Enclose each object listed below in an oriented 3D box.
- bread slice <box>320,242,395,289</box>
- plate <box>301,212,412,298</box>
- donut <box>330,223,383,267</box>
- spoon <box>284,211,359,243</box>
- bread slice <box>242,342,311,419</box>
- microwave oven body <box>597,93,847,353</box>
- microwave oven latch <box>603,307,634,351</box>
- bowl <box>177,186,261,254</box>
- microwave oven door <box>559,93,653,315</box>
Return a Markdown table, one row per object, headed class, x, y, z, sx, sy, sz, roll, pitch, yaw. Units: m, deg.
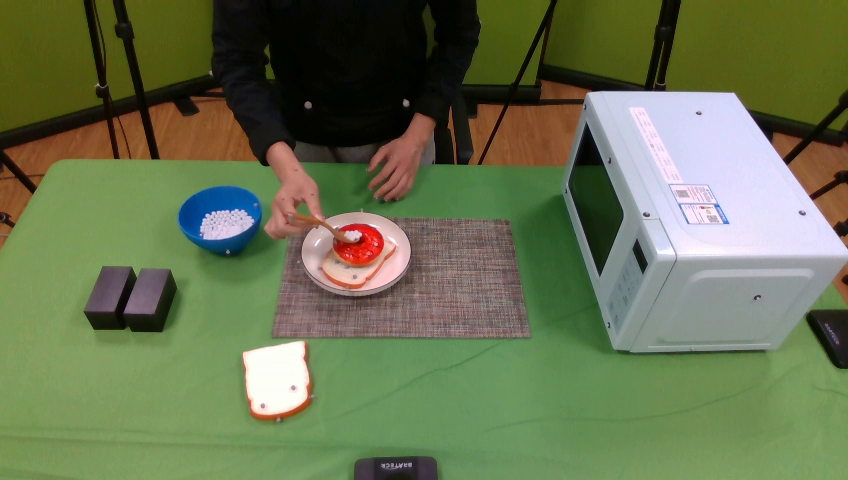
| class | x | y | z | sx | sy | sz | roll | pitch | yaw |
| --- | --- | --- | --- | --- | --- | --- | --- | --- | --- |
| bread slice | -0.129 | 0.038 | 1.142 | 0.107 | 0.018 | 0.134 | 19 | 45 | 14 |
| plate | -0.126 | 0.031 | 1.145 | 0.208 | 0.039 | 0.206 | 2 | 46 | -2 |
| donut | -0.125 | 0.010 | 1.127 | 0.099 | 0.048 | 0.098 | 3 | 46 | -3 |
| spoon | -0.172 | -0.024 | 1.026 | 0.041 | 0.195 | 0.021 | 33 | 91 | 31 |
| bread slice | -0.233 | 0.223 | 0.970 | 0.105 | 0.019 | 0.130 | -10 | 46 | -12 |
| microwave oven body | 0.475 | -0.041 | 1.109 | 0.326 | 0.261 | 0.438 | -1 | 45 | -4 |
| microwave oven latch | 0.332 | 0.153 | 1.044 | 0.030 | 0.029 | 0.078 | 0 | 45 | -4 |
| bowl | -0.383 | -0.026 | 1.158 | 0.151 | 0.077 | 0.150 | 2 | 46 | -2 |
| microwave oven door | 0.327 | -0.074 | 1.123 | 0.039 | 0.245 | 0.353 | -1 | 46 | -5 |
